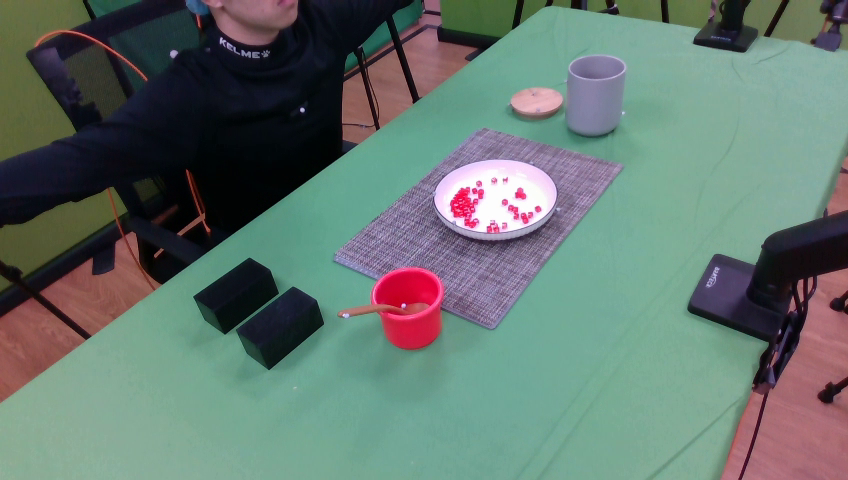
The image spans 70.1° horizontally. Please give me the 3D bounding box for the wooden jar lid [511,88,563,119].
[{"bbox_3d":[0.237,-0.286,1.272,0.108,0.021,0.108,-5,42,5],"label":"wooden jar lid"}]

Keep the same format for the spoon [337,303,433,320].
[{"bbox_3d":[-0.048,0.091,0.777,0.041,0.021,0.195,23,5,32],"label":"spoon"}]

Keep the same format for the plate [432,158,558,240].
[{"bbox_3d":[0.118,-0.066,1.013,0.207,0.039,0.206,-4,41,4],"label":"plate"}]

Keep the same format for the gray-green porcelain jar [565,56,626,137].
[{"bbox_3d":[0.325,-0.271,1.159,0.106,0.127,0.105,-4,41,4],"label":"gray-green porcelain jar"}]
